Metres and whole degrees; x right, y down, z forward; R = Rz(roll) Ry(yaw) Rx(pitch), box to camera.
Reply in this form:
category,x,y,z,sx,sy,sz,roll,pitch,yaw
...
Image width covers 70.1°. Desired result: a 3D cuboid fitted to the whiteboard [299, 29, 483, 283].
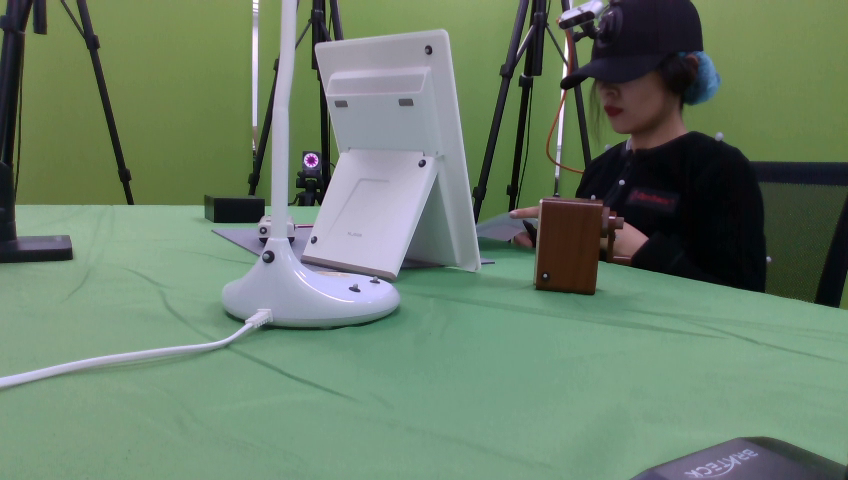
category,x,y,z,sx,sy,sz,roll,pitch,yaw
whiteboard,-0.074,-0.082,0.742,0.216,0.305,0.144,9,30,38

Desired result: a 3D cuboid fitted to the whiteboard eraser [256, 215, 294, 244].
category,x,y,z,sx,sy,sz,roll,pitch,yaw
whiteboard eraser,-0.232,-0.016,0.951,0.056,0.042,0.112,2,7,-12

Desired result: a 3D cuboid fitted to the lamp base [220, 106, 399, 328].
category,x,y,z,sx,sy,sz,roll,pitch,yaw
lamp base,-0.101,-0.023,0.531,0.160,0.180,0.179,4,10,10

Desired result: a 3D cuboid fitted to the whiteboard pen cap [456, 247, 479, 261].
category,x,y,z,sx,sy,sz,roll,pitch,yaw
whiteboard pen cap,0.060,0.020,0.851,0.033,0.018,0.018,10,10,37

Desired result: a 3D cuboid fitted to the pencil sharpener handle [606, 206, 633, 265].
category,x,y,z,sx,sy,sz,roll,pitch,yaw
pencil sharpener handle,0.222,-0.004,0.683,0.030,0.068,0.036,5,21,17

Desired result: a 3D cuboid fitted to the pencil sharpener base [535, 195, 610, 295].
category,x,y,z,sx,sy,sz,roll,pitch,yaw
pencil sharpener base,0.172,0.005,0.695,0.076,0.107,0.061,5,7,16

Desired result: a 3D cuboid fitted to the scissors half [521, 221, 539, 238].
category,x,y,z,sx,sy,sz,roll,pitch,yaw
scissors half,0.207,-0.021,1.098,0.013,0.040,0.176,13,2,30

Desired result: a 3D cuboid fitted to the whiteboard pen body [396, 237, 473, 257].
category,x,y,z,sx,sy,sz,roll,pitch,yaw
whiteboard pen body,0.014,0.012,0.886,0.140,0.017,0.017,9,10,38

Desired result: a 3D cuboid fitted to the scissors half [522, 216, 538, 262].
category,x,y,z,sx,sy,sz,roll,pitch,yaw
scissors half,0.199,-0.001,1.095,0.012,0.040,0.176,19,-19,31

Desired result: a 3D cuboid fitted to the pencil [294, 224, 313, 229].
category,x,y,z,sx,sy,sz,roll,pitch,yaw
pencil,-0.221,-0.028,1.211,0.195,0.012,0.012,-5,10,-34
